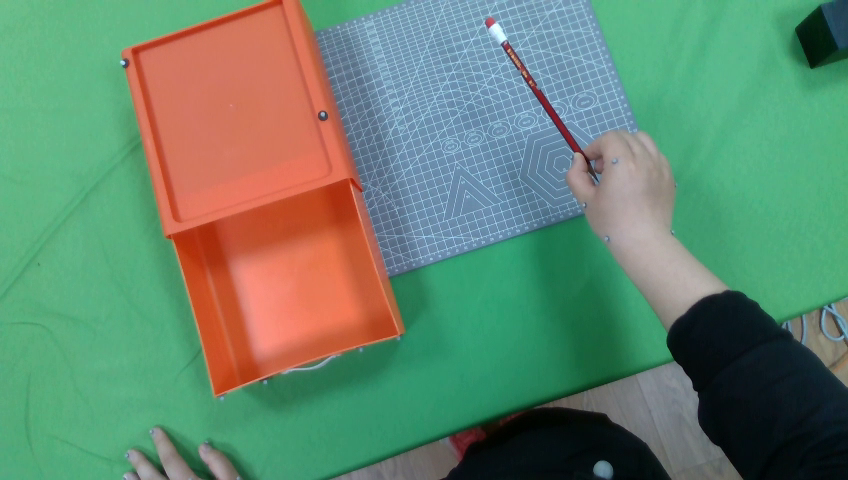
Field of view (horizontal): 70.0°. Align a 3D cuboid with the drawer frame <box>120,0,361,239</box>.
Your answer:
[{"bbox_3d":[-0.196,-0.125,0.654,0.201,0.083,0.212,-18,81,2],"label":"drawer frame"}]

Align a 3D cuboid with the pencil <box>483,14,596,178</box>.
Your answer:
[{"bbox_3d":[0.114,-0.141,0.593,0.012,0.012,0.193,-33,85,0],"label":"pencil"}]

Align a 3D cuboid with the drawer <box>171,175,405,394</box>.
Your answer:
[{"bbox_3d":[-0.145,0.030,0.635,0.194,0.073,0.211,-19,84,3],"label":"drawer"}]
